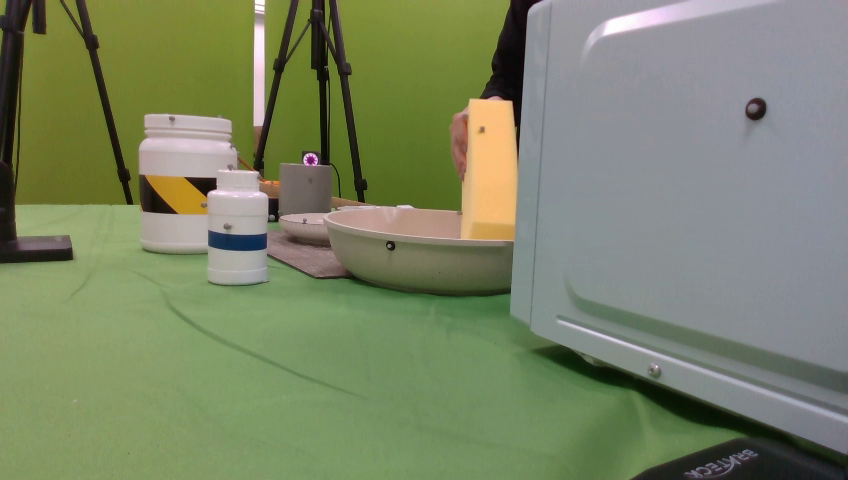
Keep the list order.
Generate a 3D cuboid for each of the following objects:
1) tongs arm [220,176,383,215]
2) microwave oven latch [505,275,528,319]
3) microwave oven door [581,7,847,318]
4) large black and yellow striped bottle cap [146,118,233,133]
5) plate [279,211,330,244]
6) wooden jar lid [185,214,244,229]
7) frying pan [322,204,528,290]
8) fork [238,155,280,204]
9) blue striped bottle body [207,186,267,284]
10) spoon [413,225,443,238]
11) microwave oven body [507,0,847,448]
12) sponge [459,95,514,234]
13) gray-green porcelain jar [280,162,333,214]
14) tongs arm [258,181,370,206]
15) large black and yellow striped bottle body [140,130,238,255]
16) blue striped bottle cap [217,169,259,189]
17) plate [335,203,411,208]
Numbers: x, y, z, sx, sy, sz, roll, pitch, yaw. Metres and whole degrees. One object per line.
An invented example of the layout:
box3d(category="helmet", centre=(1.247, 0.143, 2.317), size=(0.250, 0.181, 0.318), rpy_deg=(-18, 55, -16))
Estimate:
box3d(category="tongs arm", centre=(-0.285, -0.103, 1.445), size=(0.389, 0.027, 0.028), rpy_deg=(9, -4, -23))
box3d(category="microwave oven latch", centre=(0.100, 0.042, 0.471), size=(0.079, 0.029, 0.030), rpy_deg=(-2, 7, -29))
box3d(category="microwave oven door", centre=(0.295, -0.067, 0.569), size=(0.358, 0.243, 0.039), rpy_deg=(-3, 8, -31))
box3d(category="large black and yellow striped bottle cap", centre=(-0.333, -0.163, 0.861), size=(0.115, 0.019, 0.115), rpy_deg=(1, 9, 0))
box3d(category="plate", centre=(-0.139, -0.022, 1.021), size=(0.209, 0.038, 0.209), rpy_deg=(2, 8, 0))
box3d(category="wooden jar lid", centre=(-0.404, -0.037, 1.169), size=(0.108, 0.020, 0.108), rpy_deg=(3, 7, 0))
box3d(category="frying pan", centre=(0.109, -0.018, 0.800), size=(0.490, 0.102, 0.305), rpy_deg=(-12, 16, -30))
box3d(category="fork", centre=(-0.396, -0.143, 1.486), size=(0.028, 0.018, 0.208), rpy_deg=(19, -26, 45))
box3d(category="blue striped bottle body", centre=(-0.204, -0.016, 0.663), size=(0.063, 0.120, 0.063), rpy_deg=(2, 7, 0))
box3d(category="spoon", centre=(0.016, -0.020, 1.113), size=(0.041, 0.021, 0.194), rpy_deg=(-14, 3, 12))
box3d(category="microwave oven body", centre=(0.331, -0.042, 0.425), size=(0.444, 0.260, 0.324), rpy_deg=(-2, 8, -31))
box3d(category="sponge", centre=(0.085, -0.081, 0.816), size=(0.061, 0.206, 0.118), rpy_deg=(3, -32, -3))
box3d(category="gray-green porcelain jar", centre=(-0.238, -0.092, 1.221), size=(0.106, 0.126, 0.106), rpy_deg=(2, 7, 0))
box3d(category="tongs arm", centre=(-0.241, -0.095, 1.373), size=(0.387, 0.026, 0.050), rpy_deg=(9, -1, -37))
box3d(category="large black and yellow striped bottle body", centre=(-0.336, -0.078, 0.871), size=(0.131, 0.184, 0.130), rpy_deg=(2, 8, 0))
box3d(category="blue striped bottle cap", centre=(-0.202, -0.067, 0.656), size=(0.044, 0.020, 0.044), rpy_deg=(0, 10, 0))
box3d(category="plate", centre=(-0.089, -0.053, 1.309), size=(0.208, 0.039, 0.207), rpy_deg=(2, 8, 0))
